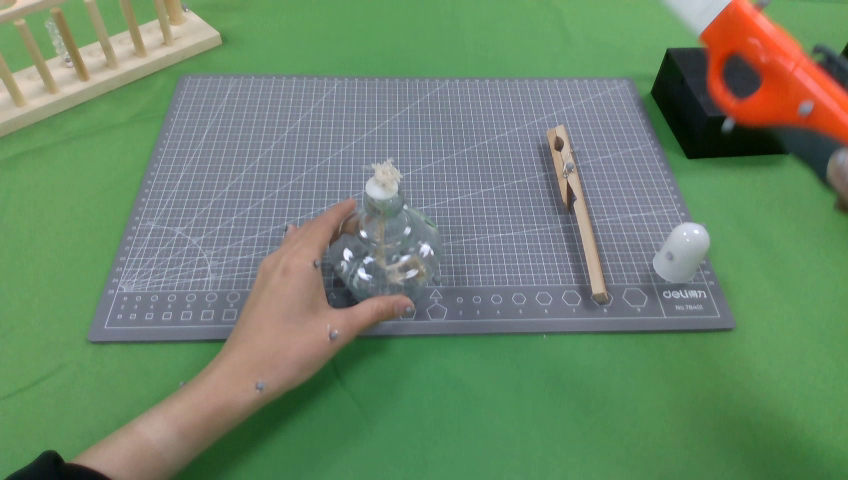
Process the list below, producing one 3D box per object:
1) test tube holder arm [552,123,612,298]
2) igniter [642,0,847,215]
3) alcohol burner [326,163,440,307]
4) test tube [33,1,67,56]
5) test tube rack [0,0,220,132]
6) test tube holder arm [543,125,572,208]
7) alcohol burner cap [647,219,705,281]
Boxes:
[{"bbox_3d":[0.125,-0.031,0.490,0.013,0.015,0.176,-25,48,23],"label":"test tube holder arm"},{"bbox_3d":[0.169,-0.113,0.342,0.025,0.057,0.274,-19,66,-46],"label":"igniter"},{"bbox_3d":[-0.028,-0.008,0.403,0.078,0.120,0.077,1,52,-1],"label":"alcohol burner"},{"bbox_3d":[-0.338,-0.227,0.521,0.017,0.151,0.017,3,48,-3],"label":"test tube"},{"bbox_3d":[-0.321,-0.191,0.557,0.242,0.086,0.066,-35,61,-27],"label":"test tube rack"},{"bbox_3d":[0.116,-0.064,0.520,0.010,0.015,0.087,-24,48,23],"label":"test tube holder arm"},{"bbox_3d":[0.189,0.005,0.451,0.034,0.048,0.033,2,50,-2],"label":"alcohol burner cap"}]
